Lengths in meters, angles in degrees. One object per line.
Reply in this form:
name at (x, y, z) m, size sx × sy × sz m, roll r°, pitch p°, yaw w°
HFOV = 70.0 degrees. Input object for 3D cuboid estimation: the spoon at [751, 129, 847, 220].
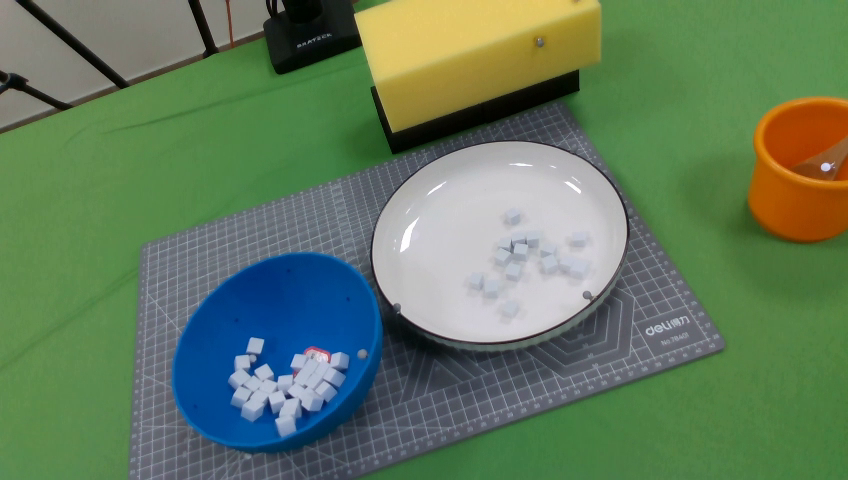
spoon at (0.316, -0.085, 0.427) m, size 0.022 × 0.194 × 0.041 m, roll 8°, pitch 44°, yaw -37°

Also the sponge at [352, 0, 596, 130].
sponge at (0.045, -0.193, 0.576) m, size 0.207 × 0.061 × 0.117 m, roll -19°, pitch 51°, yaw 0°

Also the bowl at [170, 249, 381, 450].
bowl at (-0.096, 0.089, 0.446) m, size 0.151 × 0.077 × 0.150 m, roll -7°, pitch 52°, yaw 10°

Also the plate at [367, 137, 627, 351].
plate at (0.057, 0.001, 0.498) m, size 0.209 × 0.038 × 0.207 m, roll -7°, pitch 53°, yaw 10°
